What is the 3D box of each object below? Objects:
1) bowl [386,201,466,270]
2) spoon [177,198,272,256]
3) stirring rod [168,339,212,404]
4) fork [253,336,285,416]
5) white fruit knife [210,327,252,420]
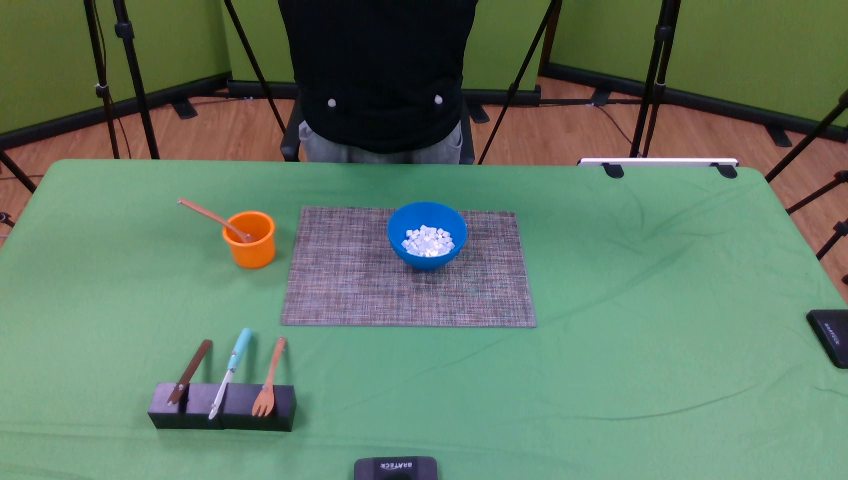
[{"bbox_3d":[0.002,0.004,1.150,0.151,0.077,0.150,2,46,-2],"label":"bowl"},{"bbox_3d":[-0.361,-0.025,1.107,0.021,0.195,0.041,-31,37,29],"label":"spoon"},{"bbox_3d":[-0.360,0.199,0.939,0.014,0.006,0.175,9,20,-6],"label":"stirring rod"},{"bbox_3d":[-0.235,0.206,0.938,0.028,0.019,0.206,-3,26,-3],"label":"fork"},{"bbox_3d":[-0.298,0.200,0.938,0.016,0.027,0.206,-1,30,0],"label":"white fruit knife"}]
